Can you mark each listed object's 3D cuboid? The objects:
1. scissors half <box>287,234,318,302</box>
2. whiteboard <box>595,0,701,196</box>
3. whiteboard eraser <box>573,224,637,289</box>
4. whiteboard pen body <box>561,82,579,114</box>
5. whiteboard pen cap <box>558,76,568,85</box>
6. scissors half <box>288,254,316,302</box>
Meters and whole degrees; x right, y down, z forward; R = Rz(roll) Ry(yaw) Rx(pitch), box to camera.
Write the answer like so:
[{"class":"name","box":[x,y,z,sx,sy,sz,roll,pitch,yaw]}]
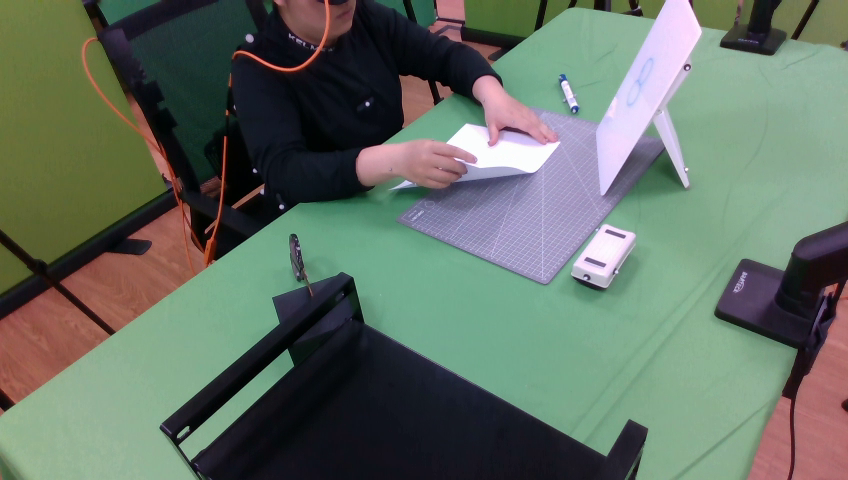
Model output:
[{"class":"scissors half","box":[-0.178,0.040,0.885,0.013,0.040,0.173,-11,37,-21]},{"class":"whiteboard","box":[0.421,-0.227,1.010,0.144,0.305,0.216,18,42,-2]},{"class":"whiteboard eraser","box":[0.267,0.025,0.891,0.055,0.042,0.113,19,47,31]},{"class":"whiteboard pen body","box":[0.310,-0.311,1.297,0.017,0.017,0.140,-6,41,3]},{"class":"whiteboard pen cap","box":[0.309,-0.350,1.340,0.018,0.018,0.033,-6,41,2]},{"class":"scissors half","box":[-0.178,0.058,0.894,0.013,0.040,0.174,-15,20,-18]}]
